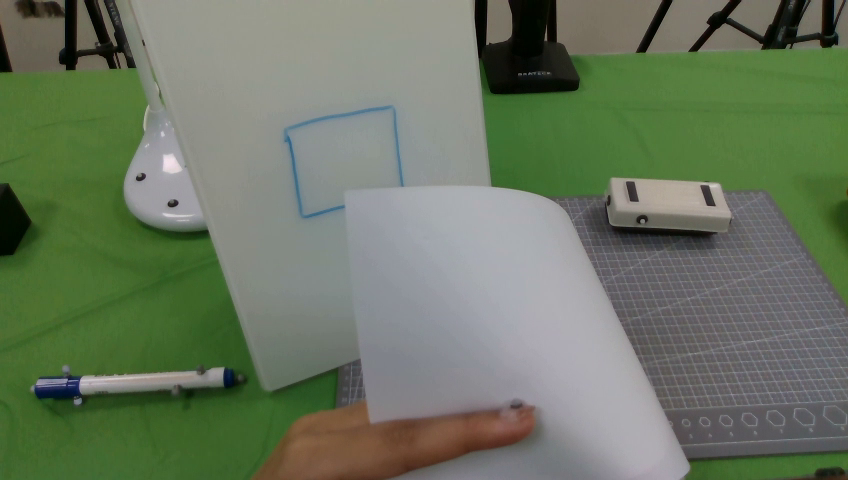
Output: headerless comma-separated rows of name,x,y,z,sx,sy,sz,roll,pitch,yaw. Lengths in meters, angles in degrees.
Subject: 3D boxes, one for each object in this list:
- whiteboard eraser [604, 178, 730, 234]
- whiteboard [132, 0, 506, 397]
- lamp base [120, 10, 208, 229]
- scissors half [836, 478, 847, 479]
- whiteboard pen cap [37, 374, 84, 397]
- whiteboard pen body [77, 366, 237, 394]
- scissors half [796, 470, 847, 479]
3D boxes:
whiteboard eraser,0.240,-0.032,0.607,0.112,0.042,0.055,3,43,3
whiteboard,-0.072,-0.067,0.499,0.217,0.308,0.142,-17,27,-15
lamp base,-0.250,-0.128,0.611,0.177,0.182,0.160,28,50,29
scissors half,0.157,0.082,0.205,0.175,0.040,0.012,-14,72,22
whiteboard pen cap,-0.280,0.113,0.471,0.033,0.018,0.018,-1,43,-10
whiteboard pen body,-0.221,0.111,0.477,0.141,0.017,0.017,-2,44,-7
scissors half,0.162,0.088,0.226,0.175,0.040,0.012,-5,69,-3
